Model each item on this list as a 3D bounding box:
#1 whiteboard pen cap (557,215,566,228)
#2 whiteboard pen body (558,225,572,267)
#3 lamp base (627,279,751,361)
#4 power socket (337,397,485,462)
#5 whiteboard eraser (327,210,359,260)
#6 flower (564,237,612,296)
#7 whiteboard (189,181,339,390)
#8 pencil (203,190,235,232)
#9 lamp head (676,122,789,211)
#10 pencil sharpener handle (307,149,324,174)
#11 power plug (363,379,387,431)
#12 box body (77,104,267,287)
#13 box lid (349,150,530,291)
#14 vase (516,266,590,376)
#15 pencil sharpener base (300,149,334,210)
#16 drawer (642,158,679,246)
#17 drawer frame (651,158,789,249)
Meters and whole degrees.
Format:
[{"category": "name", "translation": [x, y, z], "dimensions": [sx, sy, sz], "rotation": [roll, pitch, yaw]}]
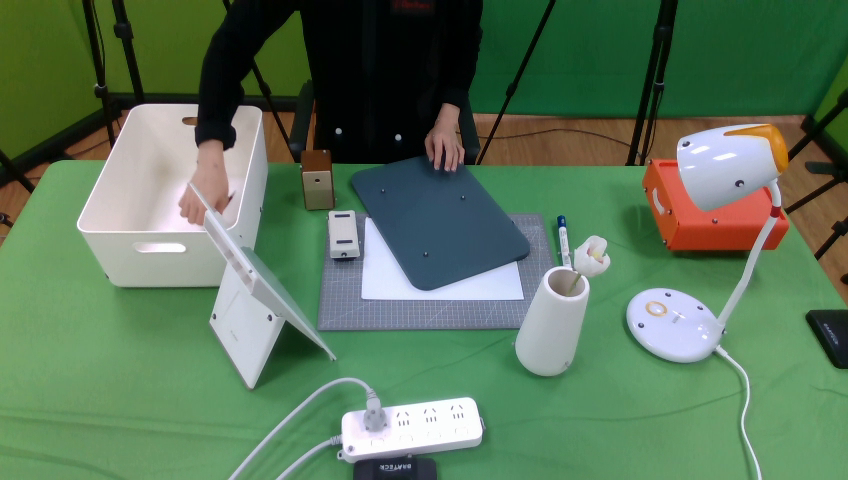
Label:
[{"category": "whiteboard pen cap", "translation": [0.284, -0.034, 1.246], "dimensions": [0.018, 0.018, 0.033], "rotation": [4, 52, -1]}, {"category": "whiteboard pen body", "translation": [0.280, 0.010, 1.207], "dimensions": [0.017, 0.017, 0.140], "rotation": [3, 50, -1]}, {"category": "lamp base", "translation": [0.460, 0.100, 1.027], "dimensions": [0.178, 0.181, 0.160], "rotation": [27, 51, 17]}, {"category": "power socket", "translation": [-0.018, 0.285, 0.915], "dimensions": [0.227, 0.033, 0.071], "rotation": [-5, 46, -8]}, {"category": "whiteboard eraser", "translation": [-0.158, -0.009, 1.177], "dimensions": [0.055, 0.042, 0.112], "rotation": [-6, 47, -7]}, {"category": "flower", "translation": [0.206, 0.088, 0.893], "dimensions": [0.038, 0.363, 0.044], "rotation": [-17, 67, -9]}, {"category": "whiteboard", "translation": [-0.292, 0.096, 0.929], "dimensions": [0.144, 0.307, 0.216], "rotation": [-37, 57, -10]}, {"category": "pencil", "translation": [-0.412, -0.028, 1.163], "dimensions": [0.012, 0.012, 0.193], "rotation": [16, 55, 10]}, {"category": "lamp head", "translation": [0.423, -0.104, 0.819], "dimensions": [0.122, 0.113, 0.112], "rotation": [-13, 33, 40]}, {"category": "pencil sharpener handle", "translation": [-0.230, -0.170, 1.267], "dimensions": [0.036, 0.068, 0.030], "rotation": [5, 44, -17]}, {"category": "power plug", "translation": [-0.072, 0.252, 0.910], "dimensions": [0.035, 0.053, 0.072], "rotation": [3, 45, -1]}, {"category": "box body", "translation": [-0.446, -0.088, 1.150], "dimensions": [0.254, 0.161, 0.361], "rotation": [-1, 46, -5]}, {"category": "box lid", "translation": [0.025, -0.056, 1.260], "dimensions": [0.263, 0.015, 0.369], "rotation": [-18, 49, -20]}, {"category": "vase", "translation": [0.208, 0.132, 0.964], "dimensions": [0.098, 0.201, 0.097], "rotation": [3, 46, -3]}, {"category": "pencil sharpener base", "translation": [-0.219, -0.125, 1.242], "dimensions": [0.061, 0.107, 0.076], "rotation": [-4, 46, -8]}, {"category": "drawer", "translation": [0.565, -0.075, 1.211], "dimensions": [0.212, 0.073, 0.193], "rotation": [2, 45, -2]}, {"category": "drawer frame", "translation": [0.571, -0.075, 1.214], "dimensions": [0.214, 0.083, 0.200], "rotation": [0, 46, -1]}]
